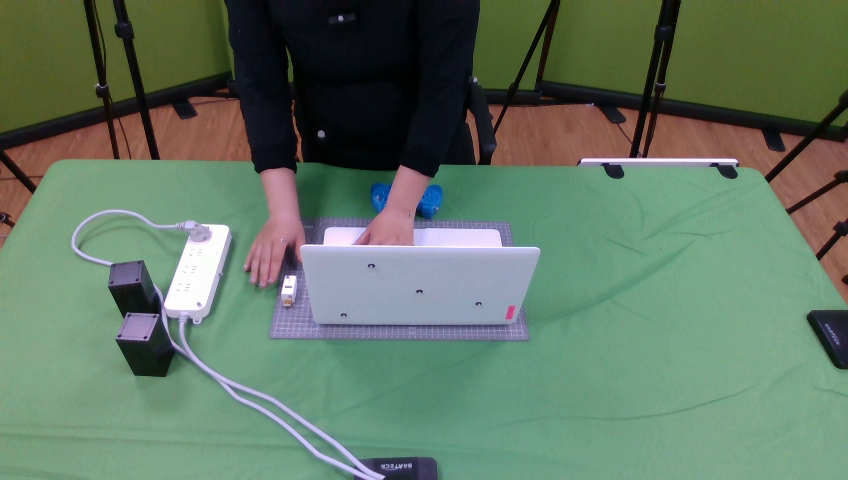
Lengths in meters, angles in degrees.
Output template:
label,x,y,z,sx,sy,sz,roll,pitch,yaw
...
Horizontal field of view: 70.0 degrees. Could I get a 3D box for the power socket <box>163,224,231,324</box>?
label,x,y,z,sx,sy,sz,roll,pitch,yaw
power socket,-0.411,0.053,1.106,0.072,0.033,0.225,3,46,-3

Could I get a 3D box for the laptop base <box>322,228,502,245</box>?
label,x,y,z,sx,sy,sz,roll,pitch,yaw
laptop base,-0.020,0.064,1.135,0.355,0.023,0.234,1,43,-4

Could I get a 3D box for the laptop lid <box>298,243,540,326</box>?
label,x,y,z,sx,sy,sz,roll,pitch,yaw
laptop lid,-0.010,0.077,0.957,0.357,0.243,0.013,1,53,-5

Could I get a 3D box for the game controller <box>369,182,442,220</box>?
label,x,y,z,sx,sy,sz,roll,pitch,yaw
game controller,-0.039,-0.091,1.267,0.155,0.052,0.096,2,50,-2

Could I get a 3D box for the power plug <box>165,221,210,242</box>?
label,x,y,z,sx,sy,sz,roll,pitch,yaw
power plug,-0.440,-0.015,1.143,0.072,0.053,0.035,6,46,8

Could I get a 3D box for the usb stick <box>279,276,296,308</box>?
label,x,y,z,sx,sy,sz,roll,pitch,yaw
usb stick,-0.244,0.094,1.079,0.021,0.027,0.059,3,46,-2
